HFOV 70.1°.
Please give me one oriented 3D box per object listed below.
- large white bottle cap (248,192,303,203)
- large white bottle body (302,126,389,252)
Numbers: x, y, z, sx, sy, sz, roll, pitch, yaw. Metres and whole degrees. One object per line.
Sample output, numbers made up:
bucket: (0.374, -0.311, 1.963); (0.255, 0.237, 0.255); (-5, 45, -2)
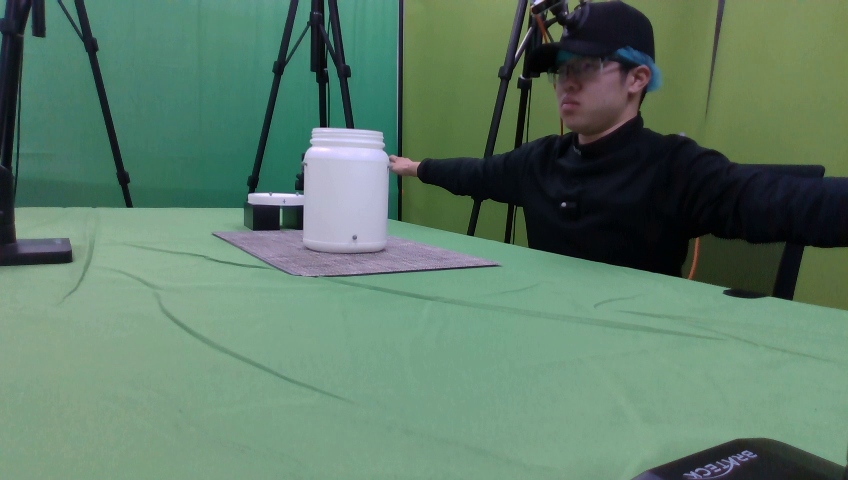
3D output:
large white bottle cap: (-0.294, -0.084, 1.213); (0.115, 0.018, 0.115); (2, 7, 0)
large white bottle body: (-0.120, -0.080, 0.936); (0.131, 0.184, 0.130); (2, 7, 0)
